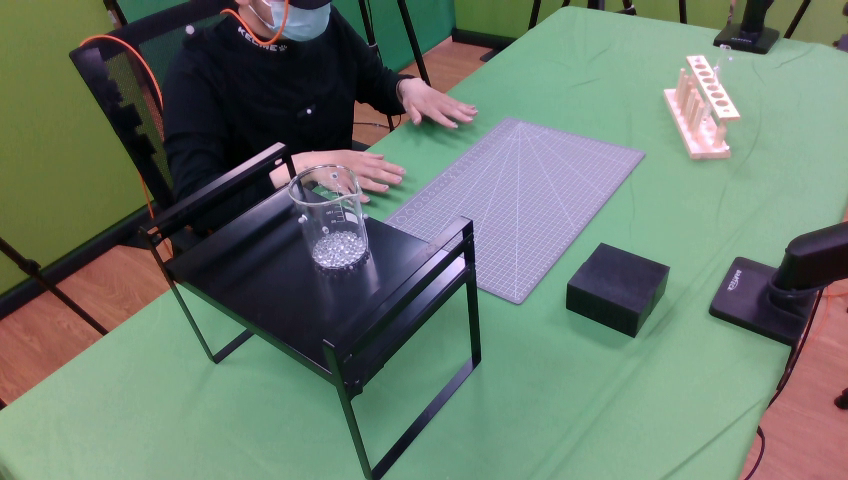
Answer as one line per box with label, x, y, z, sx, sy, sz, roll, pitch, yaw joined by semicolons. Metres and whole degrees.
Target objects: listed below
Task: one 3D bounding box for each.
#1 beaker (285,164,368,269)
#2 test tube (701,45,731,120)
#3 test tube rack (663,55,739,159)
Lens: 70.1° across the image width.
beaker;-0.102;-0.024;0.676;0.083;0.101;0.074;8;43;17
test tube;0.527;-0.281;1.095;0.017;0.151;0.017;-3;46;3
test tube rack;0.518;-0.256;1.144;0.066;0.085;0.241;-1;41;8
